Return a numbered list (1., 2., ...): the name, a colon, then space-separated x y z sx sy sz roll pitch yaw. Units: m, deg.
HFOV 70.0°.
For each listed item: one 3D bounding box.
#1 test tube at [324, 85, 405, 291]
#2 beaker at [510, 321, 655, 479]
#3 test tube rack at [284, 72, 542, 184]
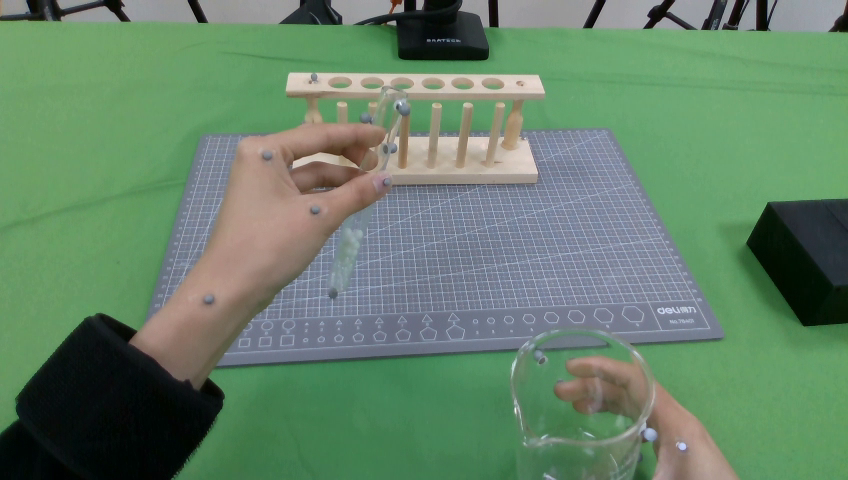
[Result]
1. test tube: -0.039 -0.025 0.374 0.017 0.151 0.017 14 35 -10
2. beaker: 0.085 0.109 0.347 0.084 0.101 0.073 -37 48 -28
3. test tube rack: -0.010 -0.110 0.594 0.243 0.086 0.066 -1 44 -5
